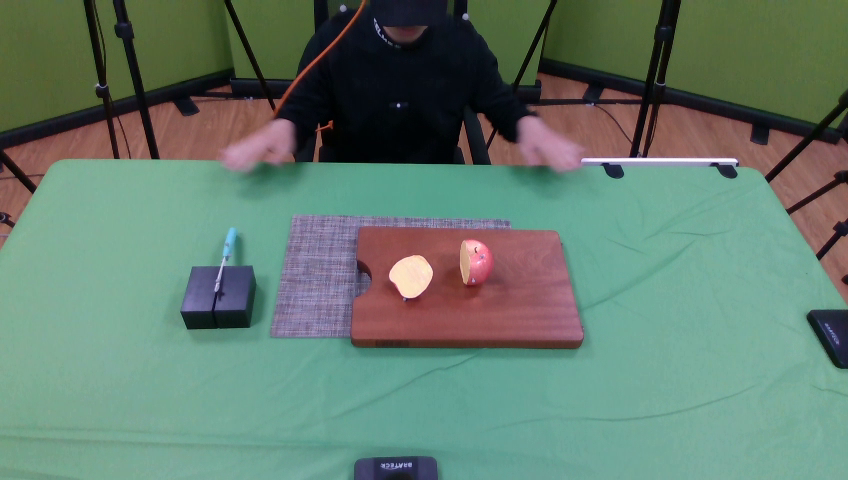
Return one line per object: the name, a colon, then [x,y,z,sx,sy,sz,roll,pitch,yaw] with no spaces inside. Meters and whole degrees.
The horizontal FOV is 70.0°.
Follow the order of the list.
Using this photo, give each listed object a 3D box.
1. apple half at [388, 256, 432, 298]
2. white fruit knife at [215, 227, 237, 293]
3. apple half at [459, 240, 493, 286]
apple half: [-0.019,0.069,1.080,0.081,0.033,0.081,-6,62,12]
white fruit knife: [-0.360,0.033,1.100,0.016,0.027,0.206,1,31,-9]
apple half: [0.096,0.042,1.093,0.053,0.075,0.080,-1,42,-11]
